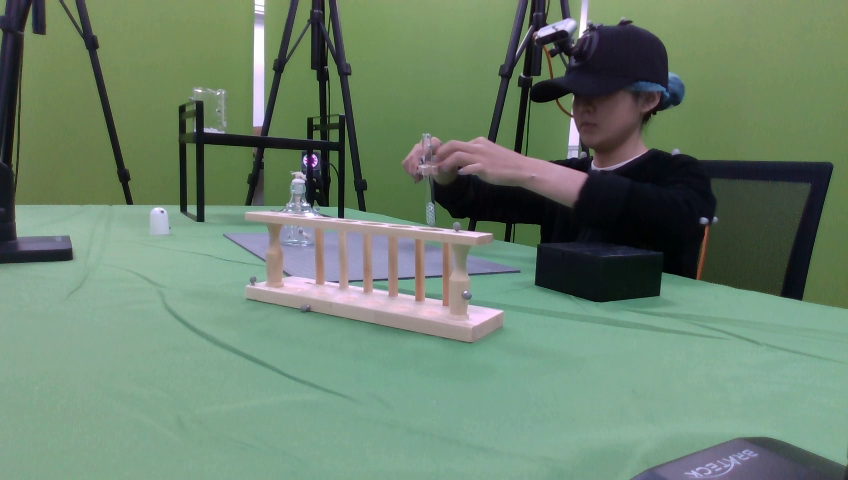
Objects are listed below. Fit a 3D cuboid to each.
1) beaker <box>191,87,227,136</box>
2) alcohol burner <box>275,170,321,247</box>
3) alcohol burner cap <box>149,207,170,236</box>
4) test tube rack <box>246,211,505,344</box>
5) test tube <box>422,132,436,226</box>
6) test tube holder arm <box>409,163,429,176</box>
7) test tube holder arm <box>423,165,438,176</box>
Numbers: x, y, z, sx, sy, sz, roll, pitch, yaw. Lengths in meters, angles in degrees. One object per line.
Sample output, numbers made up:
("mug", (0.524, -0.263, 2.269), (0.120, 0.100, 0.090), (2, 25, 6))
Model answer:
("beaker", (-0.476, -0.284, 1.345), (0.074, 0.100, 0.083), (-3, 10, -37))
("alcohol burner", (-0.199, -0.049, 0.948), (0.078, 0.119, 0.078), (1, 7, 0))
("alcohol burner cap", (-0.445, -0.032, 1.019), (0.034, 0.048, 0.034), (4, 9, 0))
("test tube rack", (-0.049, 0.025, 0.547), (0.241, 0.085, 0.067), (7, 8, 29))
("test tube", (0.008, -0.098, 0.976), (0.017, 0.150, 0.017), (-3, 7, 1))
("test tube holder arm", (-0.009, -0.123, 1.039), (0.013, 0.015, 0.178), (1, 9, -11))
("test tube holder arm", (0.006, -0.115, 0.997), (0.010, 0.015, 0.087), (-1, 9, -17))
